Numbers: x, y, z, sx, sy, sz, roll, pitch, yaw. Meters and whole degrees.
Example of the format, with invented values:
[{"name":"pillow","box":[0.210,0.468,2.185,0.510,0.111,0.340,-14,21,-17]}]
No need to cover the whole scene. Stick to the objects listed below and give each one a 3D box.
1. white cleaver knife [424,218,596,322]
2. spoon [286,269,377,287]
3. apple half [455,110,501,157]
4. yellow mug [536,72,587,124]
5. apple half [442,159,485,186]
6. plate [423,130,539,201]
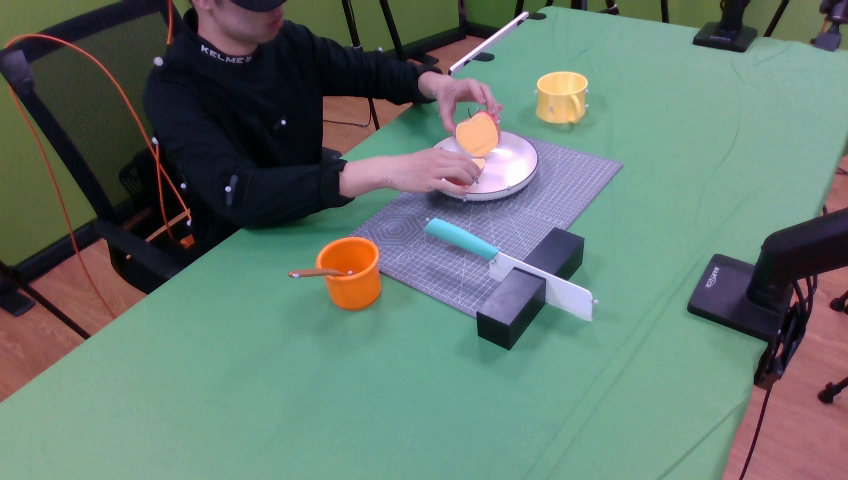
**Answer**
[{"name":"white cleaver knife","box":[0.114,0.042,0.865,0.284,0.066,0.021,27,47,28]},{"name":"spoon","box":[-0.125,0.049,0.831,0.041,0.195,0.021,22,93,28]},{"name":"apple half","box":[0.104,-0.198,1.104,0.080,0.075,0.053,-29,11,32]},{"name":"yellow mug","box":[0.284,-0.281,1.222,0.100,0.064,0.130,-16,42,-9]},{"name":"apple half","box":[0.075,-0.111,1.043,0.081,0.033,0.081,-19,9,4]},{"name":"plate","box":[0.103,-0.132,1.092,0.209,0.038,0.208,-4,40,4]}]
